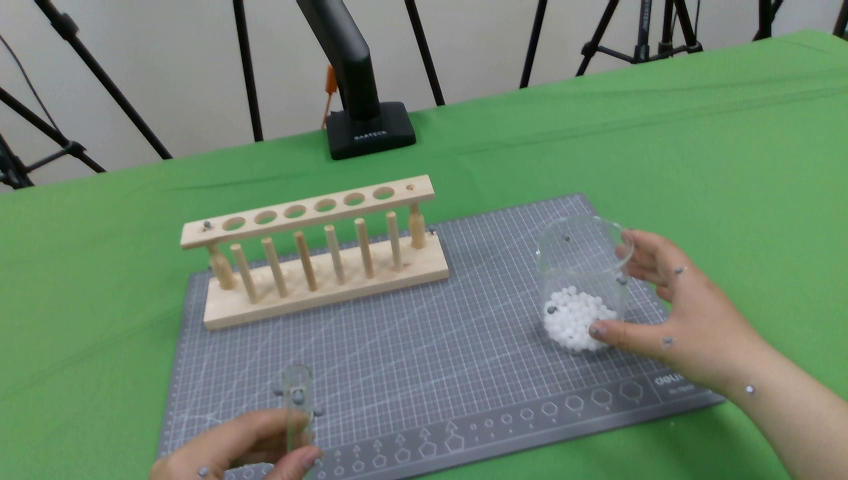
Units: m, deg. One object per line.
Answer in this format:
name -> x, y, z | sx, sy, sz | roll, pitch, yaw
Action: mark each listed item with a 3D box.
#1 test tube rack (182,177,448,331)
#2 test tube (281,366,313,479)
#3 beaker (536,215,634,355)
test tube rack -> -0.104, 0.013, 0.600 | 0.242, 0.086, 0.066 | -12, 39, -4
test tube -> -0.076, 0.130, 0.370 | 0.017, 0.151, 0.017 | 5, 39, -4
beaker -> 0.131, 0.042, 0.508 | 0.084, 0.101, 0.073 | -25, 41, -17
